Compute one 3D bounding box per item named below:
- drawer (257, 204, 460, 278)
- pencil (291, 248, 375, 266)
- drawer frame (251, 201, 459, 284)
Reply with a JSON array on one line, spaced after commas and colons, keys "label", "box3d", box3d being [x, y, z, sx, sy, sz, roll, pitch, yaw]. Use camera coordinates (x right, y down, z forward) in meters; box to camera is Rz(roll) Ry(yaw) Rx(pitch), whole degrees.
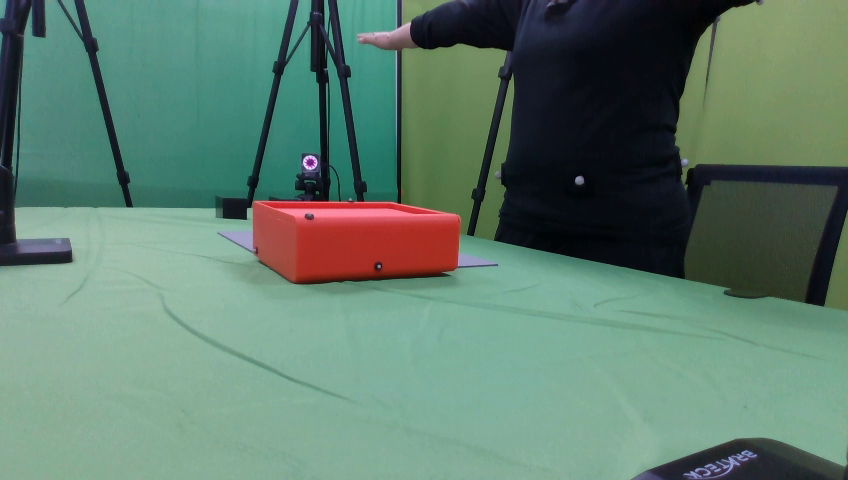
[{"label": "drawer", "box3d": [-0.090, -0.004, 0.793, 0.213, 0.073, 0.193, -3, 10, -29]}, {"label": "pencil", "box3d": [-0.112, 0.020, 0.793, 0.012, 0.012, 0.195, 6, 6, 24]}, {"label": "drawer frame", "box3d": [-0.095, -0.005, 0.788, 0.215, 0.082, 0.200, -3, 10, -30]}]
